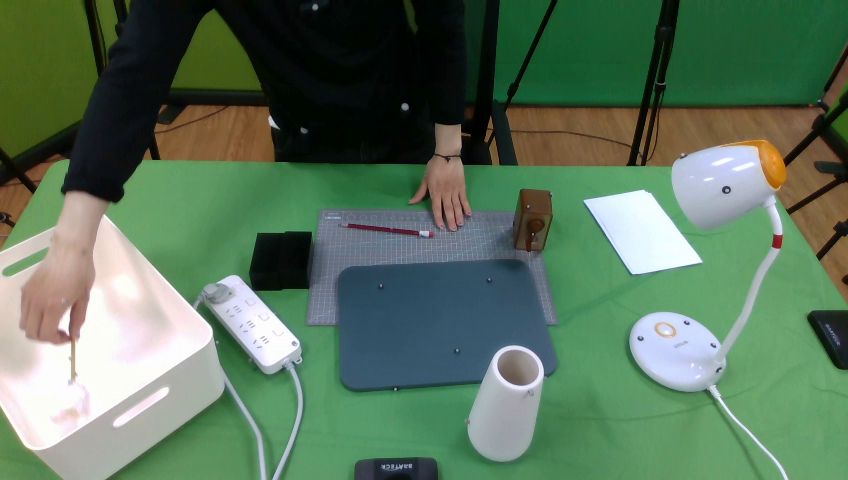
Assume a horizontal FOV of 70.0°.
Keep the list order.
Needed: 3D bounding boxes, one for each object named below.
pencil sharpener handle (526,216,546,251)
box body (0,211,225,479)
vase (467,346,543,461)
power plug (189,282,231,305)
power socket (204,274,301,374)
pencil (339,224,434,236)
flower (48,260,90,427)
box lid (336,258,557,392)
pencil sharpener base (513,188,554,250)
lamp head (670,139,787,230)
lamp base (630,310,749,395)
[{"bbox_3d":[0.208,-0.010,1.143,0.036,0.068,0.030,10,47,-4],"label":"pencil sharpener handle"},{"bbox_3d":[-0.504,0.154,0.916,0.362,0.161,0.254,36,54,27],"label":"box body"},{"bbox_3d":[0.116,0.234,0.861,0.098,0.201,0.097,1,47,-1],"label":"vase"},{"bbox_3d":[-0.368,0.097,1.039,0.072,0.053,0.035,-25,55,-20],"label":"power plug"},{"bbox_3d":[-0.297,0.140,1.035,0.072,0.033,0.225,-33,57,-29],"label":"power socket"},{"bbox_3d":[-0.076,-0.021,1.219,0.194,0.012,0.012,5,46,3],"label":"pencil"},{"bbox_3d":[-0.507,0.129,0.877,0.044,0.038,0.359,-6,34,-25],"label":"flower"},{"bbox_3d":[0.030,0.140,1.073,0.372,0.015,0.261,-3,47,-7],"label":"box lid"},{"bbox_3d":[0.213,-0.038,1.187,0.061,0.107,0.076,5,47,1],"label":"pencil sharpener base"},{"bbox_3d":[0.415,-0.079,0.812,0.113,0.123,0.112,12,70,-37],"label":"lamp head"},{"bbox_3d":[0.447,0.142,0.984,0.161,0.181,0.178,-24,55,-24],"label":"lamp base"}]
